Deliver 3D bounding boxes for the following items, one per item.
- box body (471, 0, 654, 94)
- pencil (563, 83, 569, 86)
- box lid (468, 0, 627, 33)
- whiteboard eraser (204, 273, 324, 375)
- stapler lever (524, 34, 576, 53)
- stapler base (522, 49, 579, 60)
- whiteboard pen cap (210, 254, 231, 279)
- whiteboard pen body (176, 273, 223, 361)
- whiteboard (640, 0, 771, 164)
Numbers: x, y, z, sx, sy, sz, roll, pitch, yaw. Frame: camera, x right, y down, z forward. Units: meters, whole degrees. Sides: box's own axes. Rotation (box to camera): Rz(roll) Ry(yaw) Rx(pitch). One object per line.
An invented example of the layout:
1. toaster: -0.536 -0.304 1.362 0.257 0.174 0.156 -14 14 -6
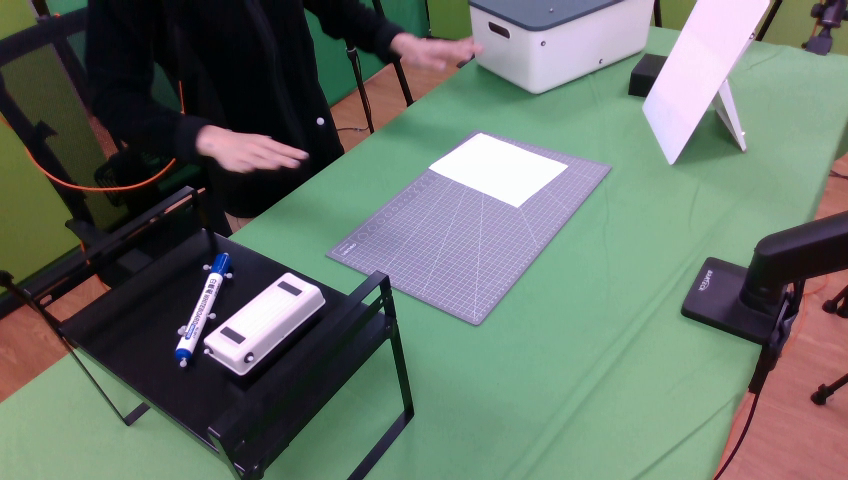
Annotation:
1. box body: 0.319 -0.498 1.405 0.365 0.161 0.252 -26 43 -21
2. pencil: 0.248 -0.393 1.398 0.193 0.012 0.012 30 52 24
3. box lid: 0.312 -0.554 1.358 0.373 0.015 0.261 -26 44 -20
4. whiteboard eraser: -0.157 0.084 0.605 0.055 0.042 0.113 24 49 30
5. stapler lever: 0.297 -0.463 1.425 0.117 0.040 0.027 5 21 17
6. stapler base: 0.300 -0.442 1.433 0.130 0.024 0.041 3 21 18
7. whiteboard pen cap: -0.234 0.032 0.695 0.018 0.018 0.033 -4 40 4
8. whiteboard pen body: -0.237 0.072 0.652 0.017 0.017 0.140 -3 40 5
9. whiteboard: 0.543 -0.299 1.076 0.144 0.305 0.216 12 40 -7
